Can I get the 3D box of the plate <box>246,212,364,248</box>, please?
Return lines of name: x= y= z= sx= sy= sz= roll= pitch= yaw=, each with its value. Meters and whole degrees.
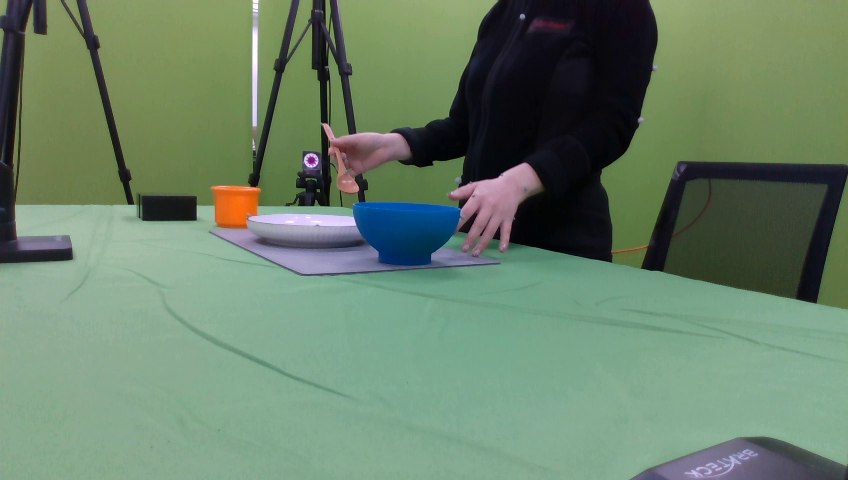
plate: x=-0.185 y=-0.017 z=0.995 sx=0.209 sy=0.038 sz=0.209 roll=3 pitch=8 yaw=0

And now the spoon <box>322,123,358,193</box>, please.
spoon: x=-0.168 y=-0.162 z=1.179 sx=0.042 sy=0.193 sz=0.021 roll=-6 pitch=-32 yaw=-26

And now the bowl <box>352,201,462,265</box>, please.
bowl: x=-0.024 y=-0.010 z=0.831 sx=0.151 sy=0.077 sz=0.151 roll=3 pitch=7 yaw=0
